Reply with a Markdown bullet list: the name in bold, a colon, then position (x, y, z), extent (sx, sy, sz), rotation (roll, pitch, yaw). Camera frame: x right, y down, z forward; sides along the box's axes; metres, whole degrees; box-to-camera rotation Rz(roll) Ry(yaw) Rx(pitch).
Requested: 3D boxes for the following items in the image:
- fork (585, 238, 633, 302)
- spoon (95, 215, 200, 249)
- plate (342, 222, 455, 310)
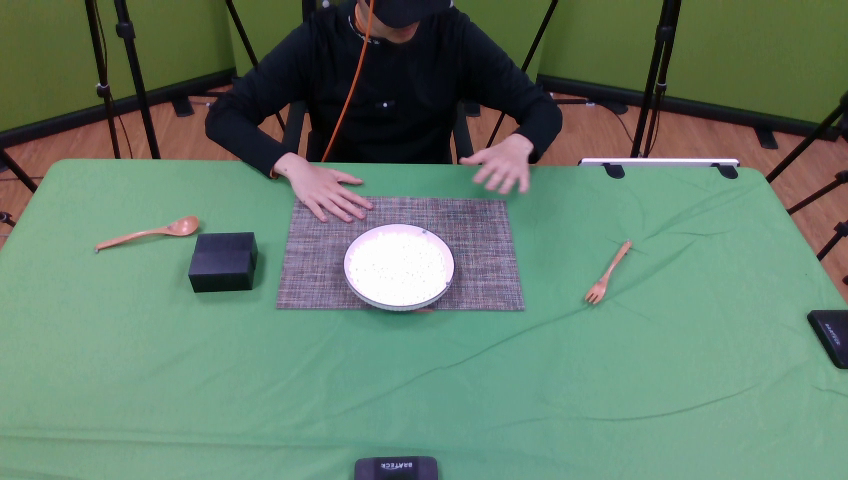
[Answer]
- **fork**: position (0.362, 0.055, 1.172), extent (0.028, 0.019, 0.207), rotation (20, 49, 30)
- **spoon**: position (-0.531, -0.014, 1.168), extent (0.194, 0.022, 0.041), rotation (-13, 65, -16)
- **plate**: position (-0.047, 0.052, 1.127), extent (0.209, 0.038, 0.208), rotation (3, 46, -2)
